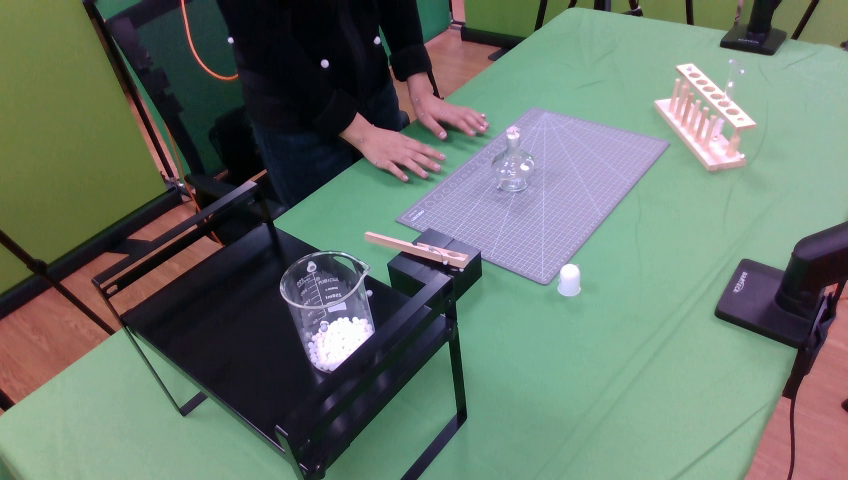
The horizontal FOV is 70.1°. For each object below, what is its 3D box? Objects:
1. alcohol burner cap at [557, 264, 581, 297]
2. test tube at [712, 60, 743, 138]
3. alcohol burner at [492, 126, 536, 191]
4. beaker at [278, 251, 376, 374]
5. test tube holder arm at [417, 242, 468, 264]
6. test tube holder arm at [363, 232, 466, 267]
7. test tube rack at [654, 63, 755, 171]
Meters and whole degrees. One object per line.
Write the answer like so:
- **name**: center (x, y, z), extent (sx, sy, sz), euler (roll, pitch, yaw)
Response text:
- **alcohol burner cap**: center (0.208, 0.055, 0.866), extent (0.034, 0.048, 0.033), euler (-4, 41, 4)
- **test tube**: center (0.527, -0.242, 1.052), extent (0.017, 0.151, 0.017), euler (-3, 44, 3)
- **alcohol burner**: center (0.155, -0.146, 1.046), extent (0.078, 0.119, 0.077), euler (-4, 43, 4)
- **beaker**: center (-0.084, 0.070, 0.570), extent (0.084, 0.101, 0.073), euler (-18, 42, -13)
- **test tube holder arm**: center (0.024, 0.019, 0.874), extent (0.087, 0.015, 0.010), euler (14, 28, 29)
- **test tube holder arm**: center (-0.017, 0.012, 0.891), extent (0.177, 0.015, 0.013), euler (13, 28, 28)
- **test tube rack**: center (0.510, -0.233, 1.120), extent (0.067, 0.085, 0.241), euler (-8, 41, -1)
